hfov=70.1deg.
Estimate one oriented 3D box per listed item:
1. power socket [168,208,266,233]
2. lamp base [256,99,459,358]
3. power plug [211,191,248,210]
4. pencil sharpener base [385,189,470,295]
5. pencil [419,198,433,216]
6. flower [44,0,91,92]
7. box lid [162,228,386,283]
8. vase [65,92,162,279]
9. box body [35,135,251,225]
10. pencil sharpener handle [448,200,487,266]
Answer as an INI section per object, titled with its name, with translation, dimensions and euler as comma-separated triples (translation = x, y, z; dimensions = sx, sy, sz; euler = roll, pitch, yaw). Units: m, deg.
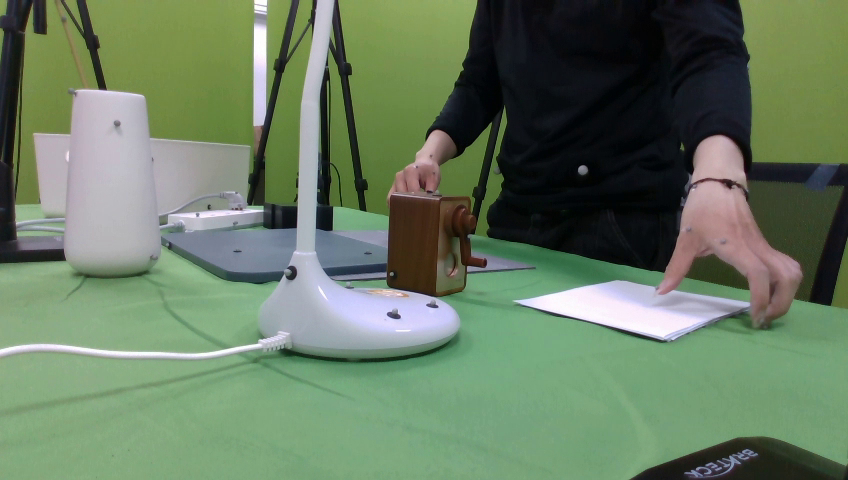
[power socket]
translation = -0.379, -0.038, 1.129
dimensions = 0.072, 0.032, 0.227
euler = 4, 8, 18
[lamp base]
translation = -0.055, -0.013, 0.463
dimensions = 0.160, 0.180, 0.180
euler = 6, 11, 27
[power plug]
translation = -0.384, -0.071, 1.205
dimensions = 0.072, 0.052, 0.035
euler = 1, 8, 28
[pencil sharpener base]
translation = 0.006, 0.001, 0.653
dimensions = 0.076, 0.107, 0.061
euler = 8, 9, 37
[pencil]
translation = 0.004, -0.057, 1.045
dimensions = 0.012, 0.012, 0.194
euler = 1, -5, -5
[flower]
translation = -0.361, -0.142, 0.663
dimensions = 0.044, 0.361, 0.038
euler = -12, 11, 30
[box lid]
translation = -0.200, 0.014, 0.861
dimensions = 0.265, 0.015, 0.369
euler = -4, 10, -35
[vase]
translation = -0.347, -0.060, 0.673
dimensions = 0.098, 0.200, 0.098
euler = 1, 7, 0
[box body]
translation = -0.559, -0.127, 1.257
dimensions = 0.253, 0.160, 0.365
euler = 4, 8, 15
[pencil sharpener handle]
translation = 0.049, -0.006, 0.623
dimensions = 0.030, 0.068, 0.036
euler = 8, 22, 37
